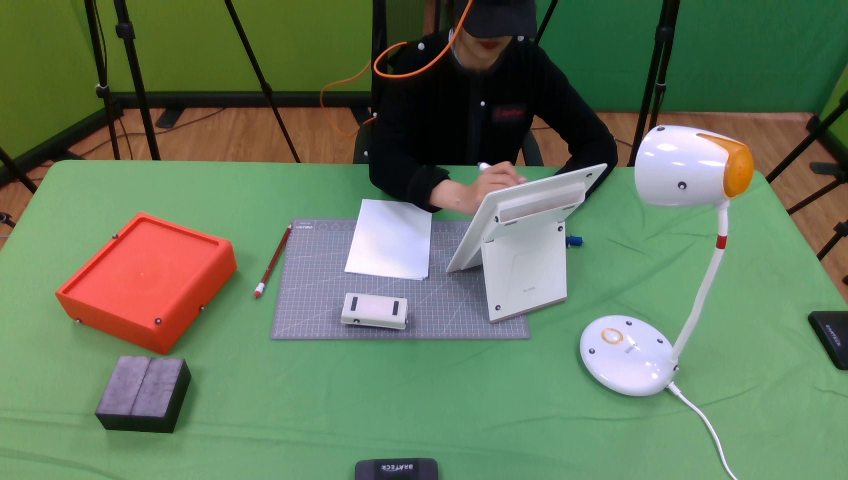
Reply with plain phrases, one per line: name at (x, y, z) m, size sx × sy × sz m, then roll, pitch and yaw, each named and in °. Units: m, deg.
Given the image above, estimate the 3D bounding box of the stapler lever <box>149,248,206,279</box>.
stapler lever at (-0.443, 0.037, 1.084) m, size 0.118 × 0.040 × 0.027 m, roll 19°, pitch 50°, yaw 17°

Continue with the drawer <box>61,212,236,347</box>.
drawer at (-0.473, 0.064, 1.060) m, size 0.194 × 0.073 × 0.211 m, roll 18°, pitch 48°, yaw 11°

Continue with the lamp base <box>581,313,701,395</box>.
lamp base at (0.361, 0.144, 0.972) m, size 0.178 × 0.181 × 0.160 m, roll 34°, pitch 53°, yaw 23°

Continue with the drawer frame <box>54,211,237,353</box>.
drawer frame at (-0.473, 0.067, 1.055) m, size 0.201 × 0.083 × 0.212 m, roll 17°, pitch 48°, yaw 11°

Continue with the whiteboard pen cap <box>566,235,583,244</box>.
whiteboard pen cap at (0.303, 0.000, 1.221) m, size 0.033 × 0.018 × 0.018 m, roll 3°, pitch 46°, yaw -2°

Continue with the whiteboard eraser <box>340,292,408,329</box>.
whiteboard eraser at (-0.087, 0.125, 1.052) m, size 0.113 × 0.042 × 0.055 m, roll 5°, pitch 45°, yaw 1°

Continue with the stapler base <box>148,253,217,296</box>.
stapler base at (-0.443, 0.059, 1.109) m, size 0.130 × 0.024 × 0.041 m, roll 24°, pitch 51°, yaw 11°

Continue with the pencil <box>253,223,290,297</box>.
pencil at (-0.286, 0.033, 1.151) m, size 0.012 × 0.012 × 0.193 m, roll 9°, pitch 46°, yaw 4°

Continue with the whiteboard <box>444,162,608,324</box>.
whiteboard at (0.186, 0.026, 1.028) m, size 0.217 × 0.306 × 0.143 m, roll -14°, pitch 68°, yaw -18°

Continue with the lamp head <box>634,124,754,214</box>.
lamp head at (0.351, -0.089, 0.776) m, size 0.112 × 0.113 × 0.122 m, roll -30°, pitch 30°, yaw -28°

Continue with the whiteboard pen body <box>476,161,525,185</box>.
whiteboard pen body at (0.144, -0.110, 1.061) m, size 0.017 × 0.017 × 0.140 m, roll -30°, pitch 43°, yaw -29°
